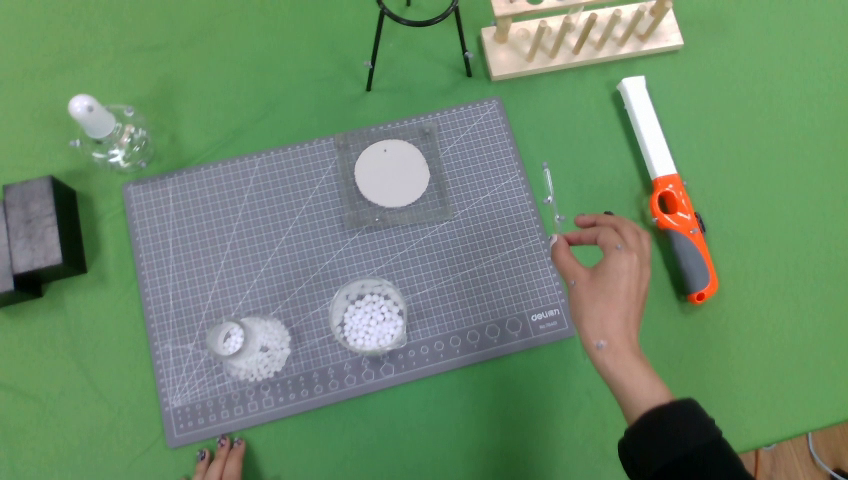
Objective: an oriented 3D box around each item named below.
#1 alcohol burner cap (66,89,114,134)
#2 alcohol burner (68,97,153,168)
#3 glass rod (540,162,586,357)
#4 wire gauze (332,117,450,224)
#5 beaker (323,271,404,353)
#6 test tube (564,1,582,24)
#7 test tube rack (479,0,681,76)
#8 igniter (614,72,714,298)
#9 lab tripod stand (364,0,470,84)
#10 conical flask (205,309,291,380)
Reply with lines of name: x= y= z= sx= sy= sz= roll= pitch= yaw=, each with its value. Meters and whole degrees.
alcohol burner cap: x=-0.339 y=-0.133 z=0.610 sx=0.034 sy=0.048 sz=0.033 roll=1 pitch=70 yaw=-1
alcohol burner: x=-0.340 y=-0.122 z=0.645 sx=0.078 sy=0.119 sz=0.077 roll=0 pitch=78 yaw=-1
glass rod: x=0.135 y=0.022 z=0.587 sx=0.008 sy=0.008 sz=0.200 roll=-16 pitch=102 yaw=-6
wire gauze: x=-0.039 y=-0.081 z=0.700 sx=0.125 sy=0.011 sz=0.121 roll=-6 pitch=77 yaw=-7
beaker: x=-0.055 y=0.079 z=0.615 sx=0.084 sy=0.100 sz=0.074 roll=38 pitch=78 yaw=6
test tube: x=0.175 y=-0.286 z=0.669 sx=0.017 sy=0.151 sz=0.017 roll=0 pitch=77 yaw=1
test tube rack: x=0.193 y=-0.264 z=0.715 sx=0.242 sy=0.085 sz=0.066 roll=-11 pitch=77 yaw=-5
igniter: x=0.278 y=-0.069 z=0.703 sx=0.057 sy=0.025 sz=0.275 roll=-11 pitch=77 yaw=-15
lab tripod stand: x=-0.012 y=-0.246 z=0.678 sx=0.148 sy=0.132 sz=0.147 roll=1 pitch=79 yaw=-2
conical flask: x=-0.177 y=0.098 z=0.593 sx=0.075 sy=0.122 sz=0.075 roll=1 pitch=76 yaw=-2
